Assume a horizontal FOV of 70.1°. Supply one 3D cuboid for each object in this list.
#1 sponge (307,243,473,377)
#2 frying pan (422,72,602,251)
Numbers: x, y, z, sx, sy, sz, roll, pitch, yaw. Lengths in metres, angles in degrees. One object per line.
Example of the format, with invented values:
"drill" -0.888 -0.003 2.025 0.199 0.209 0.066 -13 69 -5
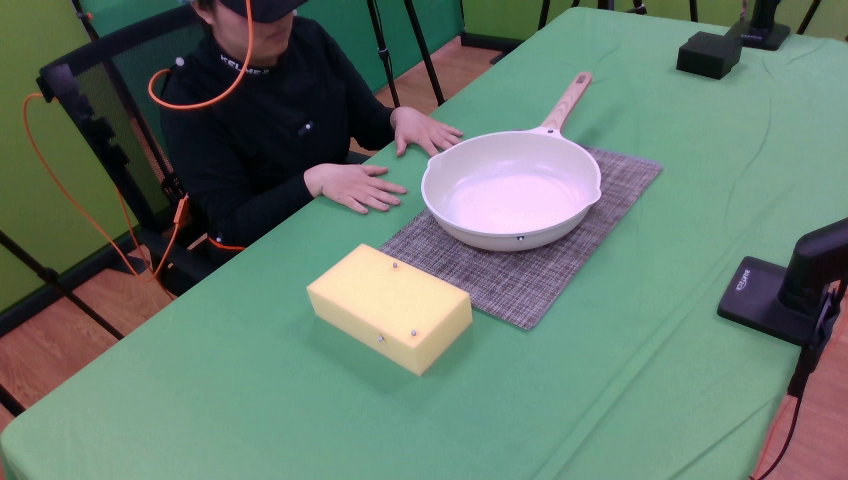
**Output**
"sponge" -0.050 0.092 0.858 0.205 0.061 0.118 23 50 32
"frying pan" 0.199 -0.155 1.062 0.304 0.103 0.488 19 56 28
